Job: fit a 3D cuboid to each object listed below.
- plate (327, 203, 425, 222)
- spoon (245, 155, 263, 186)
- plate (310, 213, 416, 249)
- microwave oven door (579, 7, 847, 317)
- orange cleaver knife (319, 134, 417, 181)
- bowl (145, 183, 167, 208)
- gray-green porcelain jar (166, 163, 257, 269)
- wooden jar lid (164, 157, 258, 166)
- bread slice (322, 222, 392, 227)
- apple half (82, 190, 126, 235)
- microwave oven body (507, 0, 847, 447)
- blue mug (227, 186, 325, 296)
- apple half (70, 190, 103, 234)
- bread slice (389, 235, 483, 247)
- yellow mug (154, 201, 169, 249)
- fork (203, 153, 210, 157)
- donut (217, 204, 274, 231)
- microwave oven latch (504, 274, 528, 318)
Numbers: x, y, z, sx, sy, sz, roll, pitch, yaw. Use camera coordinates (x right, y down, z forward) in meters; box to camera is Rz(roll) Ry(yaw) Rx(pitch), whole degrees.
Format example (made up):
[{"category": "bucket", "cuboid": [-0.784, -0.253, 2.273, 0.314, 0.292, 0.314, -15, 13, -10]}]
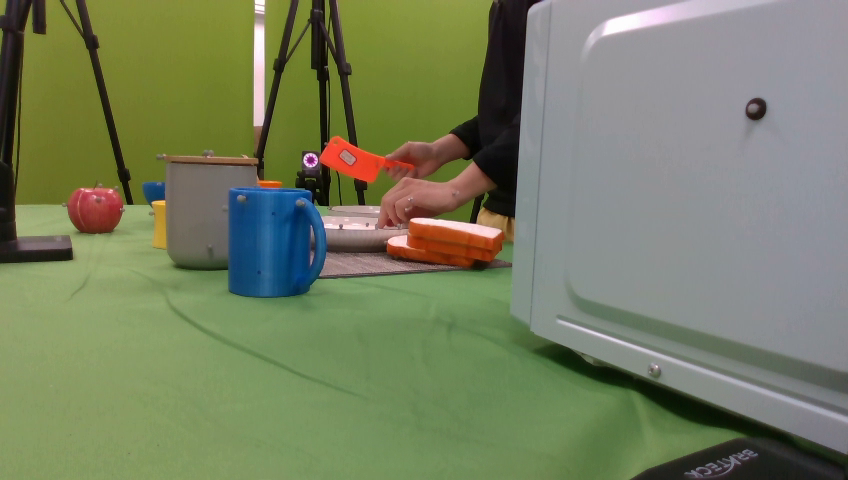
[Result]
[{"category": "plate", "cuboid": [-0.102, -0.053, 1.299, 0.209, 0.038, 0.209, 2, 8, 0]}, {"category": "spoon", "cuboid": [-0.421, -0.150, 1.540, 0.042, 0.021, 0.193, -5, 55, -37]}, {"category": "plate", "cuboid": [-0.117, -0.014, 0.967, 0.208, 0.039, 0.207, 2, 7, 0]}, {"category": "microwave oven door", "cuboid": [0.294, -0.067, 0.570, 0.358, 0.243, 0.039, -3, 9, -31]}, {"category": "orange cleaver knife", "cuboid": [-0.121, -0.171, 1.331, 0.212, 0.077, 0.012, 15, 14, -14]}, {"category": "bowl", "cuboid": [-0.459, -0.069, 1.175, 0.151, 0.077, 0.151, 2, 7, 0]}, {"category": "gray-green porcelain jar", "cuboid": [-0.263, -0.031, 0.754, 0.106, 0.126, 0.106, 2, 7, 0]}, {"category": "wooden jar lid", "cuboid": [-0.261, -0.093, 0.746, 0.108, 0.020, 0.108, 0, 9, 0]}, {"category": "bread slice", "cuboid": [-0.116, -0.014, 0.974, 0.135, 0.018, 0.106, -5, 11, -42]}, {"category": "apple half", "cuboid": [-0.516, -0.046, 0.994, 0.032, 0.081, 0.081, 0, 6, 26]}, {"category": "microwave oven body", "cuboid": [0.331, -0.042, 0.425, 0.444, 0.260, 0.324, -2, 8, -31]}, {"category": "blue mug", "cuboid": [-0.146, 0.000, 0.618, 0.116, 0.106, 0.083, 7, 9, 32]}, {"category": "apple half", "cuboid": [-0.552, -0.047, 1.009, 0.053, 0.074, 0.081, -1, 9, 26]}, {"category": "bread slice", "cuboid": [0.016, 0.002, 0.873, 0.131, 0.019, 0.105, 1, 0, 2]}, {"category": "yellow mug", "cuboid": [-0.337, -0.022, 0.899, 0.130, 0.064, 0.100, 8, 9, 34]}, {"category": "fork", "cuboid": [-0.480, -0.135, 1.411, 0.028, 0.018, 0.207, 1, -35, 0]}, {"category": "donut", "cuboid": [-0.317, -0.038, 1.080, 0.099, 0.048, 0.099, 3, 7, 0]}, {"category": "microwave oven latch", "cuboid": [0.100, 0.041, 0.471, 0.079, 0.029, 0.030, -1, 8, -28]}]
